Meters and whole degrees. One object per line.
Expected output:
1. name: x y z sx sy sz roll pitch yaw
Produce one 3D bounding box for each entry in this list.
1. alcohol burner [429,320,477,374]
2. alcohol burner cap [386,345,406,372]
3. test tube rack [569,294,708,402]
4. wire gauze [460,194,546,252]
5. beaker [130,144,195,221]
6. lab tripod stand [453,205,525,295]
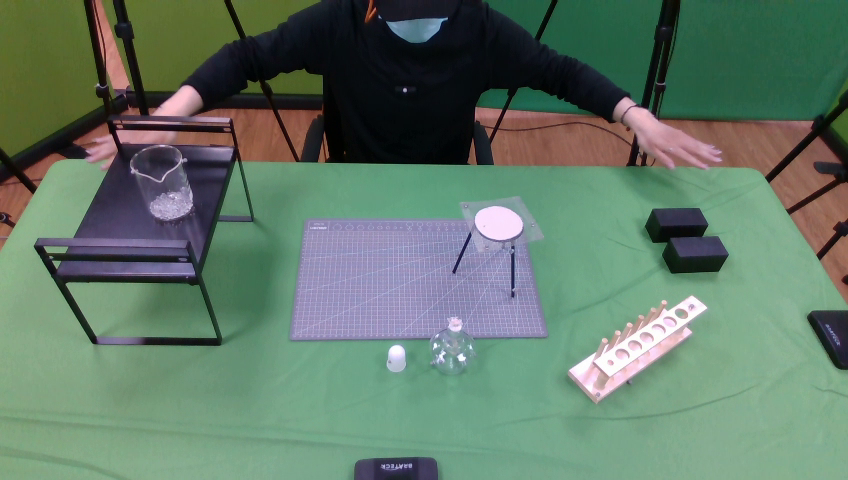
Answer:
1. alcohol burner: 0.048 0.164 0.977 0.078 0.120 0.077 2 48 -2
2. alcohol burner cap: -0.046 0.192 0.995 0.034 0.048 0.033 3 46 -3
3. test tube rack: 0.360 0.167 1.014 0.242 0.085 0.066 -25 53 -25
4. wire gauze: 0.136 -0.035 1.061 0.121 0.011 0.124 -9 46 -12
5. beaker: -0.403 -0.085 0.944 0.074 0.101 0.083 -15 50 -17
6. lab tripod stand: 0.131 0.010 1.111 0.148 0.132 0.147 1 45 -1
